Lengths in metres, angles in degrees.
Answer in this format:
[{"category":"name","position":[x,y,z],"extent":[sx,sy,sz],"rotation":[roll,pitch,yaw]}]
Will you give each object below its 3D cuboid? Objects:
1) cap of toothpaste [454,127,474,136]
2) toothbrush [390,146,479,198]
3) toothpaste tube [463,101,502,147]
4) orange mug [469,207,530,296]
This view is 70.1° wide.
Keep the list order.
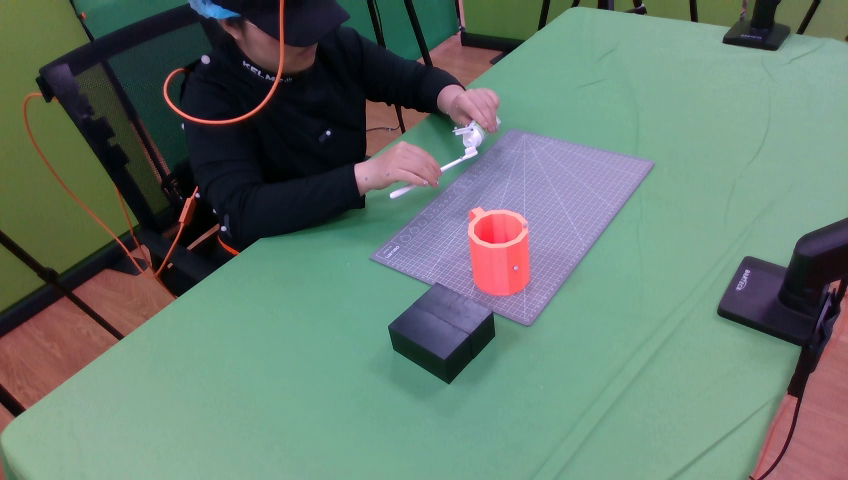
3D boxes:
[{"category":"cap of toothpaste","position":[0.069,-0.186,1.035],"extent":[0.037,0.011,0.037],"rotation":[-8,10,2]},{"category":"toothbrush","position":[0.019,-0.117,1.028],"extent":[0.182,0.017,0.014],"rotation":[-30,39,-19]},{"category":"toothpaste tube","position":[0.106,-0.211,1.115],"extent":[0.034,0.055,0.165],"rotation":[-28,15,34]},{"category":"orange mug","position":[0.104,0.008,0.894],"extent":[0.084,0.101,0.125],"rotation":[-22,46,-14]}]
